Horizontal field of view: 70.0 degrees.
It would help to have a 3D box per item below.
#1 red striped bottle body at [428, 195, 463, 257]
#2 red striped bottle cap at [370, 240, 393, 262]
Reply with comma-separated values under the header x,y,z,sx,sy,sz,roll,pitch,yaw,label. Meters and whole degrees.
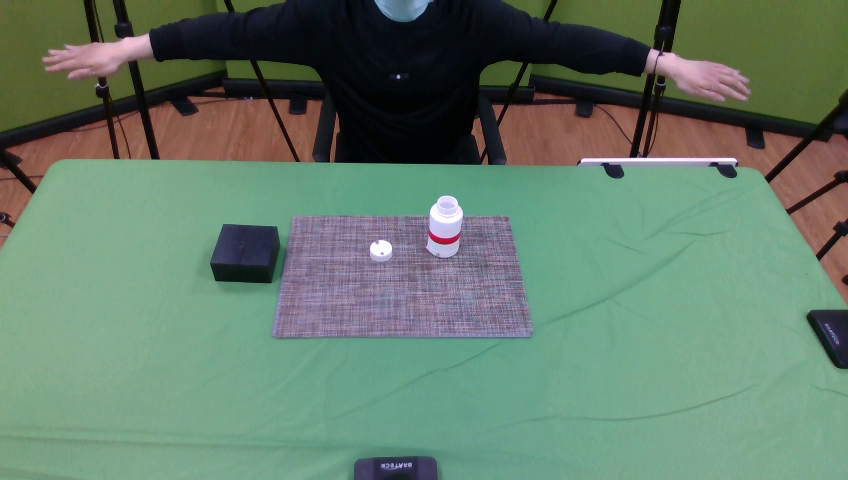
x,y,z,sx,sy,sz,roll,pitch,yaw,label
0.041,-0.028,1.152,0.063,0.120,0.062,2,46,-2,red striped bottle body
-0.082,0.020,1.168,0.044,0.018,0.044,-2,47,3,red striped bottle cap
